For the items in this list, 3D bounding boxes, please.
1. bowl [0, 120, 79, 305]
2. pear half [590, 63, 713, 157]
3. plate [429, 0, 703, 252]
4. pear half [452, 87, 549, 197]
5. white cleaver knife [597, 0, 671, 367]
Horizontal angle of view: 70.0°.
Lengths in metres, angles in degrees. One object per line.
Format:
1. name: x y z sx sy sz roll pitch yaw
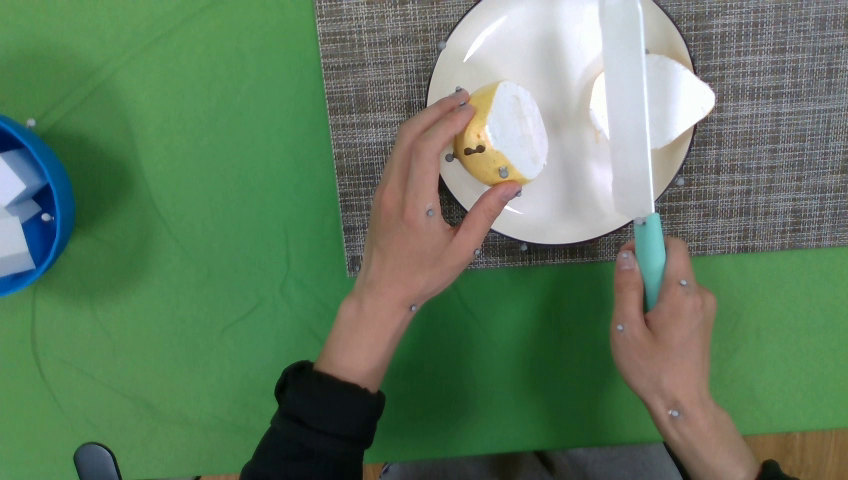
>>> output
1. bowl: -0.341 -0.030 0.486 0.151 0.076 0.152 0 105 1
2. pear half: 0.175 -0.100 0.469 0.087 0.031 0.071 6 106 17
3. plate: 0.108 -0.095 0.478 0.207 0.039 0.208 0 105 1
4. pear half: 0.044 -0.063 0.426 0.056 0.110 0.076 -22 93 33
5. white cleaver knife: 0.157 -0.032 0.449 0.021 0.065 0.288 -13 111 -6
